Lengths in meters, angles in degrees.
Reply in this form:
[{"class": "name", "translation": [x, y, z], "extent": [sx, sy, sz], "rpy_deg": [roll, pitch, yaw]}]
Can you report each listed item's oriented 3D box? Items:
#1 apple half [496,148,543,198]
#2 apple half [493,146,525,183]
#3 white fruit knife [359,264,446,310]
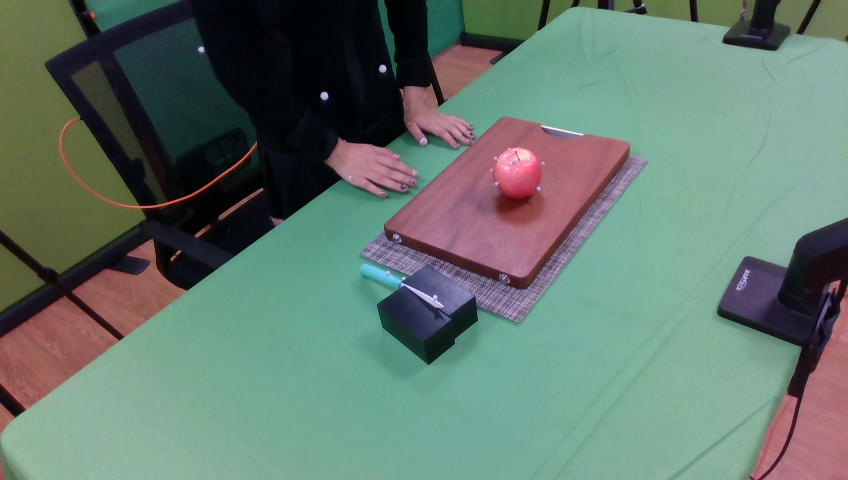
[{"class": "apple half", "translation": [0.164, -0.104, 0.991], "extent": [0.081, 0.075, 0.053], "rpy_deg": [-31, 48, -29]}, {"class": "apple half", "translation": [0.139, -0.122, 1.015], "extent": [0.081, 0.081, 0.032], "rpy_deg": [-34, 50, -25]}, {"class": "white fruit knife", "translation": [-0.034, 0.066, 0.870], "extent": [0.016, 0.027, 0.205], "rpy_deg": [-38, 33, -26]}]
